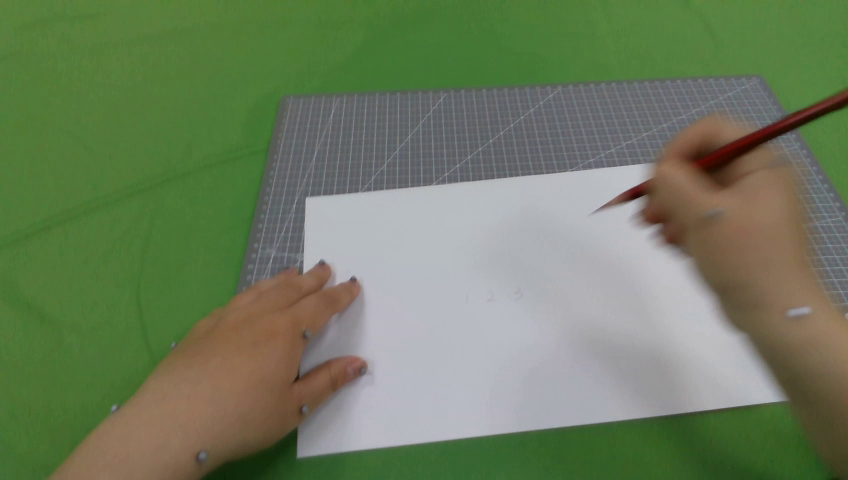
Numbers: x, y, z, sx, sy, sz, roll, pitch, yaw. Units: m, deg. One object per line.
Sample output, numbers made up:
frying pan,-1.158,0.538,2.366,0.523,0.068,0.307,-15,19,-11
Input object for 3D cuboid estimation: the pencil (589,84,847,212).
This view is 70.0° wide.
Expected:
pencil,0.166,-0.053,0.293,0.194,0.012,0.012,-27,39,35
